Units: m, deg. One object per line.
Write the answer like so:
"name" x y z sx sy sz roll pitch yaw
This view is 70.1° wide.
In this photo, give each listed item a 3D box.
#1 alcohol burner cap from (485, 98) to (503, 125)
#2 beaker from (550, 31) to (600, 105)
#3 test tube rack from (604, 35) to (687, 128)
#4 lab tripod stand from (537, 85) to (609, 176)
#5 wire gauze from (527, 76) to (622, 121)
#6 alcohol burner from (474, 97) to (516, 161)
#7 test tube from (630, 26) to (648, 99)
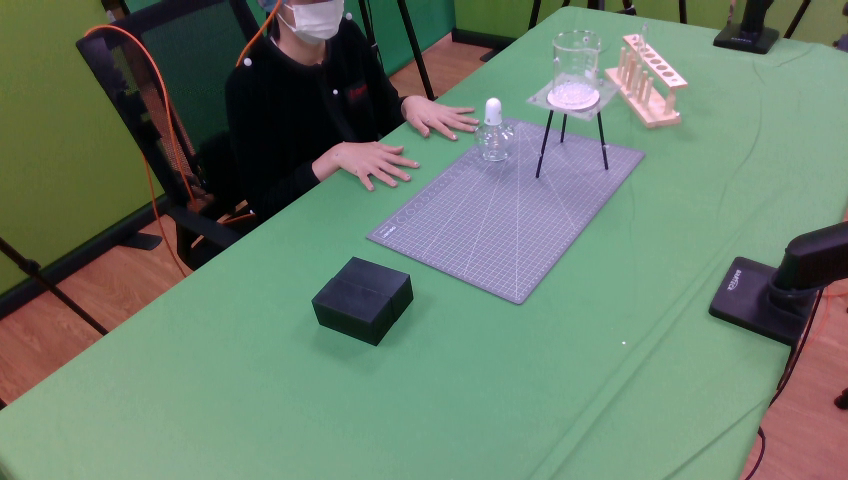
"alcohol burner cap" 0.126 -0.234 1.097 0.034 0.048 0.033 -3 39 3
"beaker" 0.250 -0.281 0.996 0.074 0.101 0.083 -37 49 -27
"test tube rack" 0.447 -0.330 1.242 0.067 0.085 0.241 -9 41 -2
"lab tripod stand" 0.259 -0.192 1.068 0.148 0.132 0.147 -4 43 4
"wire gauze" 0.255 -0.247 1.030 0.124 0.011 0.122 23 49 34
"alcohol burner" 0.131 -0.208 1.121 0.078 0.119 0.077 -6 40 5
"test tube" 0.426 -0.350 1.199 0.017 0.151 0.017 -4 42 4
